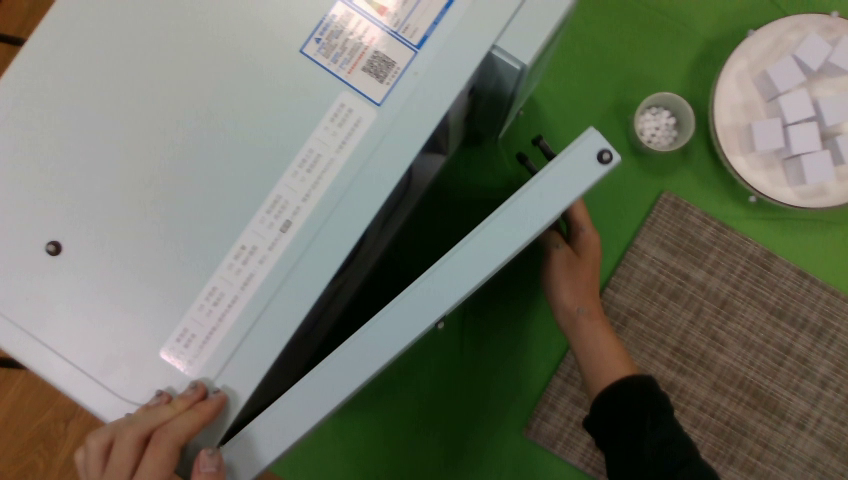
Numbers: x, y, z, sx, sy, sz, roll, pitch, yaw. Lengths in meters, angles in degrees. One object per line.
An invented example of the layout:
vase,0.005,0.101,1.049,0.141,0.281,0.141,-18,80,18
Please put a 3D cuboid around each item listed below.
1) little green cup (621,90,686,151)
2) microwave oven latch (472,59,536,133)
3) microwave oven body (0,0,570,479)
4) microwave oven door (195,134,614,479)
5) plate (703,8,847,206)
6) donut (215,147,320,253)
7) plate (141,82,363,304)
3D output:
little green cup,0.239,-0.124,0.640,0.061,0.038,0.061,0,89,2
microwave oven latch,0.083,-0.151,0.626,0.030,0.029,0.079,37,89,2
microwave oven body,-0.141,-0.091,0.531,0.326,0.260,0.441,34,89,2
microwave oven door,-0.011,0.055,0.519,0.356,0.244,0.039,-41,87,-1
plate,0.396,-0.137,0.640,0.208,0.039,0.207,0,88,1
donut,-0.145,-0.038,0.567,0.099,0.048,0.099,0,93,1
plate,-0.160,-0.043,0.579,0.209,0.038,0.209,0,91,1
